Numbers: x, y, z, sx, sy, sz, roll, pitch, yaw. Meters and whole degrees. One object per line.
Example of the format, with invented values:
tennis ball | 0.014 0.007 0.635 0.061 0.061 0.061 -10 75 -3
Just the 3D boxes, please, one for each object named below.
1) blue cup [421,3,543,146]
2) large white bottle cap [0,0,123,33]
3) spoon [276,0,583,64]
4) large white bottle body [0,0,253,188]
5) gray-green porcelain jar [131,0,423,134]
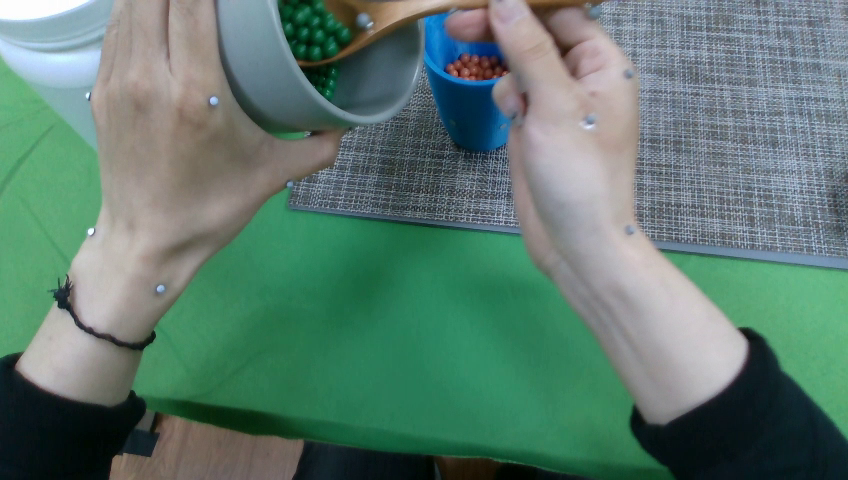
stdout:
blue cup | 0.042 -0.121 0.449 0.092 0.101 0.092 -2 66 5
large white bottle cap | -0.215 -0.170 0.353 0.115 0.018 0.114 -1 66 3
spoon | 0.012 -0.111 0.288 0.193 0.022 0.041 -4 72 12
large white bottle body | -0.209 -0.135 0.431 0.130 0.186 0.129 -1 66 3
gray-green porcelain jar | -0.081 -0.112 0.322 0.125 0.107 0.105 3 63 37
